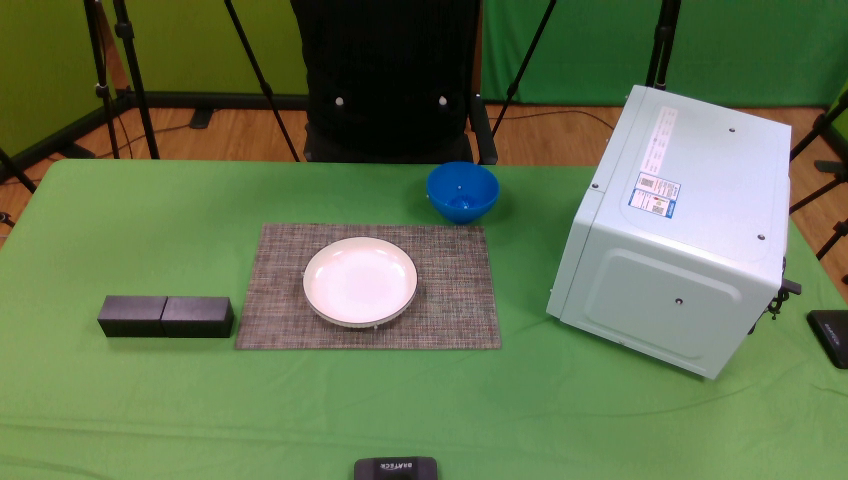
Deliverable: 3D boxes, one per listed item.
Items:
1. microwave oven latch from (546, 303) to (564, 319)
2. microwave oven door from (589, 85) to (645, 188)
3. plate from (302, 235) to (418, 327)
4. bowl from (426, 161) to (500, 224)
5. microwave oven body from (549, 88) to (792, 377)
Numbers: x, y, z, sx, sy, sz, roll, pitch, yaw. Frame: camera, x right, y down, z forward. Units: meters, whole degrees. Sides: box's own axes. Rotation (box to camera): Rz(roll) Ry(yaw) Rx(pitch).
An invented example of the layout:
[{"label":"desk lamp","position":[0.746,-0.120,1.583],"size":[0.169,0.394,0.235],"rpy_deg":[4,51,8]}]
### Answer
[{"label":"microwave oven latch","position":[0.242,0.102,1.081],"size":[0.030,0.029,0.079],"rpy_deg":[21,48,17]},{"label":"microwave oven door","position":[0.342,-0.107,1.149],"size":[0.039,0.245,0.354],"rpy_deg":[20,48,15]},{"label":"plate","position":[-0.114,0.077,1.098],"size":[0.208,0.039,0.206],"rpy_deg":[2,46,-2]},{"label":"bowl","position":[0.076,-0.086,1.248],"size":[0.151,0.077,0.150],"rpy_deg":[3,46,-3]},{"label":"microwave oven body","position":[0.456,-0.028,1.088],"size":[0.325,0.261,0.440],"rpy_deg":[20,47,16]}]
